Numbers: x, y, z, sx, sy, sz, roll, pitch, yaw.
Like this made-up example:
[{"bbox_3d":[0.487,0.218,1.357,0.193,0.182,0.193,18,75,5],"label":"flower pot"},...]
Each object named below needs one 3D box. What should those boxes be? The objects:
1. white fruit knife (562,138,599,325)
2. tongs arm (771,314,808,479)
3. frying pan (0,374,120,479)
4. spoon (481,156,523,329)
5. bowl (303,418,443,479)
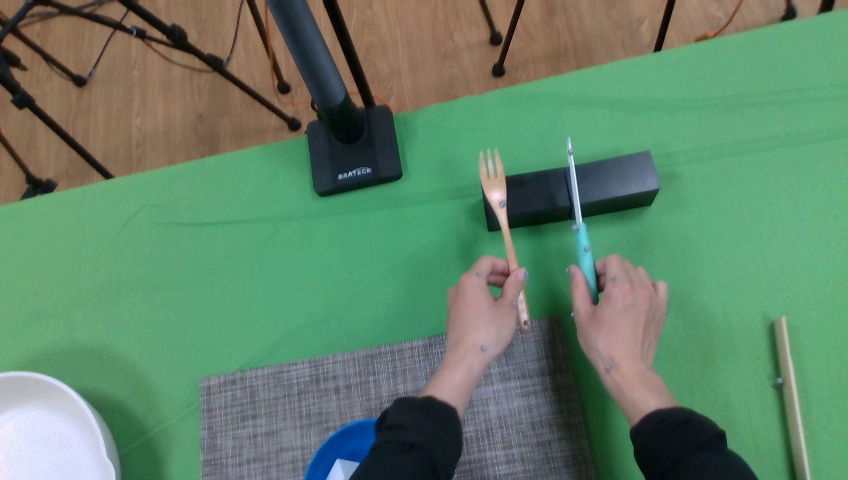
[{"bbox_3d":[0.168,-0.009,0.660,0.016,0.027,0.207,-9,90,-1],"label":"white fruit knife"},{"bbox_3d":[0.395,0.265,0.608,0.028,0.028,0.385,-3,71,6],"label":"tongs arm"},{"bbox_3d":[-0.473,0.397,0.658,0.307,0.104,0.483,-12,61,6],"label":"frying pan"},{"bbox_3d":[0.091,0.002,0.667,0.042,0.021,0.193,-3,78,-17],"label":"spoon"},{"bbox_3d":[-0.047,0.270,0.645,0.151,0.077,0.150,-3,70,8],"label":"bowl"}]
